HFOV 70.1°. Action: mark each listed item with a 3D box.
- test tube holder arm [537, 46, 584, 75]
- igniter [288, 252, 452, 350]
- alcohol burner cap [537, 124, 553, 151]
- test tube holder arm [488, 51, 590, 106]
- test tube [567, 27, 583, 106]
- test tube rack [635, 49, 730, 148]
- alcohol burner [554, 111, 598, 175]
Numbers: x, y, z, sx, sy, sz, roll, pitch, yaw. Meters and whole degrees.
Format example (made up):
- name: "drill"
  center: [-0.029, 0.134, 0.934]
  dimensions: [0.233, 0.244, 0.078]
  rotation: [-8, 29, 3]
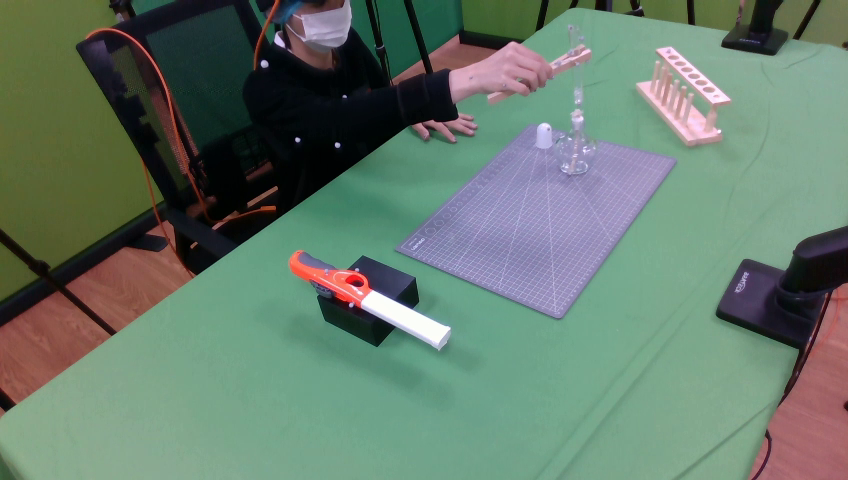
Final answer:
- name: "test tube holder arm"
  center: [0.215, -0.277, 0.949]
  dimensions: [0.088, 0.015, 0.010]
  rotation: [-33, 50, -12]
- name: "igniter"
  center: [-0.084, 0.077, 0.821]
  dimensions: [0.274, 0.025, 0.057]
  rotation: [23, 48, 27]
- name: "alcohol burner cap"
  center: [0.232, -0.199, 1.158]
  dimensions: [0.034, 0.048, 0.033]
  rotation: [-5, 40, 4]
- name: "test tube holder arm"
  center: [0.179, -0.252, 0.939]
  dimensions: [0.179, 0.015, 0.013]
  rotation: [-27, 48, -7]
- name: "test tube"
  center: [0.242, -0.273, 0.966]
  dimensions: [0.017, 0.151, 0.017]
  rotation: [-9, 52, 12]
- name: "test tube rack"
  center: [0.497, -0.283, 1.185]
  dimensions: [0.067, 0.085, 0.240]
  rotation: [-10, 40, -2]
- name: "alcohol burner"
  center: [0.270, -0.175, 1.066]
  dimensions: [0.078, 0.119, 0.077]
  rotation: [-4, 42, 4]
